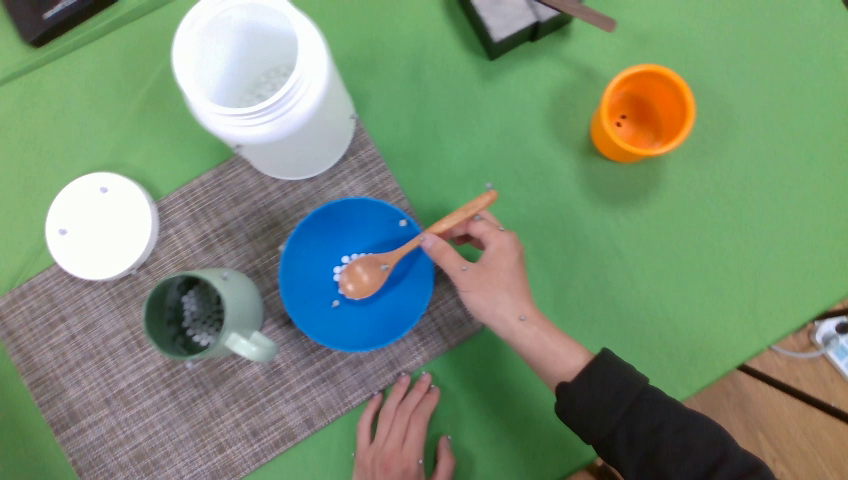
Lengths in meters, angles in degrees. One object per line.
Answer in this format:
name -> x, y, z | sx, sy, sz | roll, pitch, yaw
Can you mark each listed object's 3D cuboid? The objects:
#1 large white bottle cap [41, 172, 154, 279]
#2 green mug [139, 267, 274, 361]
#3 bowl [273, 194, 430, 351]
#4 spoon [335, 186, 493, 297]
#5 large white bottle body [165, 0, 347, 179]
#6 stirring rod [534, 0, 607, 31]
large white bottle cap -> -0.349, -0.015, 0.648 | 0.115, 0.018, 0.114 | 0, 86, 0
green mug -> -0.205, 0.080, 0.599 | 0.125, 0.105, 0.092 | 32, 86, 2
bowl -> -0.069, 0.033, 0.615 | 0.151, 0.077, 0.151 | 0, 87, 0
spoon -> -0.013, 0.002, 0.583 | 0.193, 0.022, 0.041 | -32, 78, 29
large white bottle body -> -0.151, -0.140, 0.571 | 0.130, 0.185, 0.130 | 0, 83, 2
stirring rod -> 0.105, -0.256, 0.617 | 0.176, 0.006, 0.014 | 26, 121, 1
